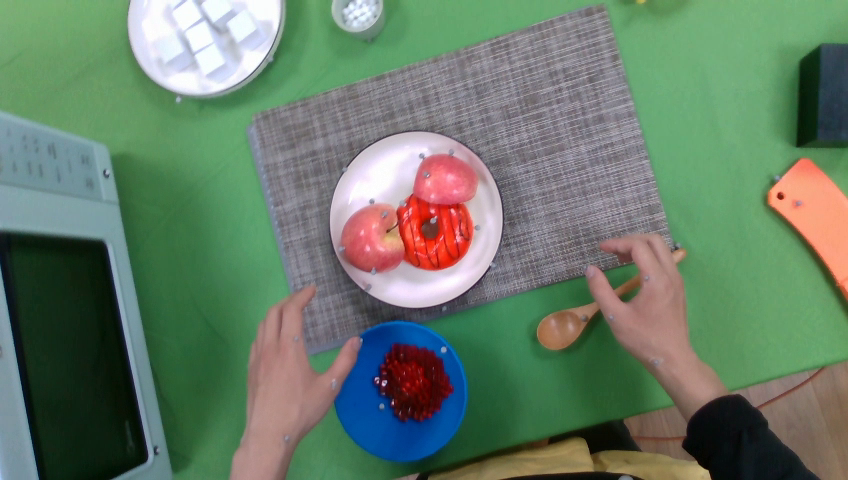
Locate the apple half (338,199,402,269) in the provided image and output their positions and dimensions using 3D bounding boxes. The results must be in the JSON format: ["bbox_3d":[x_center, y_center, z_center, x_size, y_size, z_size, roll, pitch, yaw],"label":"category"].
[{"bbox_3d":[-0.069,-0.005,0.691,0.074,0.053,0.080,-17,83,49],"label":"apple half"}]

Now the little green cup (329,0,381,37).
[{"bbox_3d":[-0.081,-0.279,0.736,0.061,0.039,0.061,0,88,9],"label":"little green cup"}]

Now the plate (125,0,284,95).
[{"bbox_3d":[-0.273,-0.283,0.766,0.207,0.039,0.207,0,88,9],"label":"plate"}]

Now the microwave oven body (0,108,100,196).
[{"bbox_3d":[-0.533,0.112,0.676,0.326,0.261,0.441,-14,87,7],"label":"microwave oven body"}]

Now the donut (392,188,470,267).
[{"bbox_3d":[0.005,-0.017,0.700,0.099,0.048,0.099,0,90,8],"label":"donut"}]

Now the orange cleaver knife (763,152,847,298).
[{"bbox_3d":[0.450,0.002,0.656,0.077,0.012,0.210,-31,82,1],"label":"orange cleaver knife"}]

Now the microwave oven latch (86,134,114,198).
[{"bbox_3d":[-0.416,-0.090,0.762,0.030,0.029,0.079,-12,87,8],"label":"microwave oven latch"}]

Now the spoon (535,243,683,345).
[{"bbox_3d":[0.212,0.059,0.689,0.194,0.022,0.041,-34,68,6],"label":"spoon"}]

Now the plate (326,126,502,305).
[{"bbox_3d":[-0.011,-0.028,0.714,0.209,0.038,0.209,0,89,9],"label":"plate"}]

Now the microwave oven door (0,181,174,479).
[{"bbox_3d":[-0.384,0.118,0.648,0.039,0.244,0.355,-14,86,8],"label":"microwave oven door"}]

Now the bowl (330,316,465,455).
[{"bbox_3d":[-0.024,0.159,0.694,0.151,0.077,0.151,0,88,9],"label":"bowl"}]

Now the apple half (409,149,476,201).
[{"bbox_3d":[0.023,-0.081,0.684,0.081,0.033,0.080,1,48,0],"label":"apple half"}]
